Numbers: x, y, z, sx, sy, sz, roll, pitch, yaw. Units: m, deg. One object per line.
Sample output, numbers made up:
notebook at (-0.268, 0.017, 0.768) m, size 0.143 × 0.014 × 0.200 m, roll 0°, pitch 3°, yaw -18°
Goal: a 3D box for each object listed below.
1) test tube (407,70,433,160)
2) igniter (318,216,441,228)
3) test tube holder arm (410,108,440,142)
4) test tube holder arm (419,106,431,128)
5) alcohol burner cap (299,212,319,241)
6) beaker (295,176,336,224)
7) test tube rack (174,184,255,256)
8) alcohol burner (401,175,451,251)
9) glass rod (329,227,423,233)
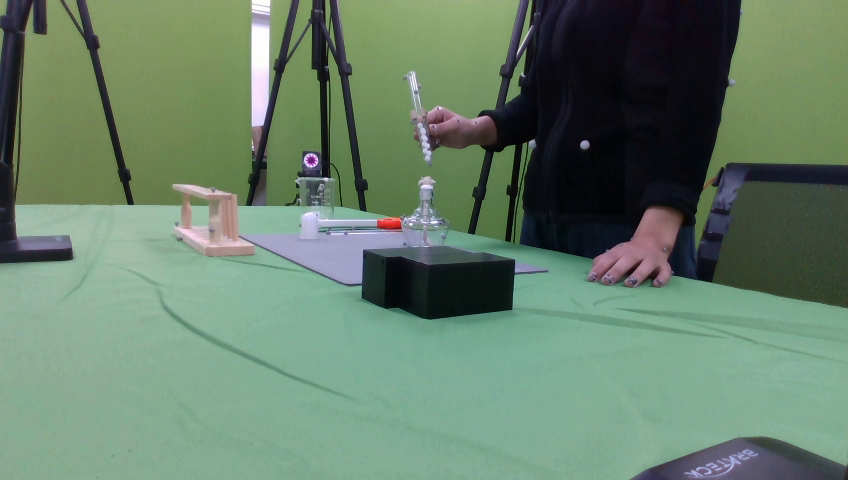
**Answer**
test tube at (-0.006, -0.197, 0.948) m, size 0.017 × 0.150 × 0.017 m, roll -11°, pitch -11°, yaw -2°
igniter at (-0.090, -0.035, 1.222) m, size 0.278 × 0.025 × 0.057 m, roll -2°, pitch -2°, yaw -32°
test tube holder arm at (0.004, -0.191, 1.016) m, size 0.013 × 0.015 × 0.179 m, roll -11°, pitch -6°, yaw 11°
test tube holder arm at (0.002, -0.195, 0.971) m, size 0.010 × 0.015 × 0.088 m, roll -11°, pitch -6°, yaw 4°
alcohol burner cap at (-0.195, -0.024, 1.025) m, size 0.034 × 0.048 × 0.034 m, roll 3°, pitch 7°, yaw 0°
beaker at (-0.224, -0.080, 1.247) m, size 0.084 × 0.100 × 0.073 m, roll -1°, pitch 8°, yaw -18°
test tube rack at (-0.327, -0.036, 0.928) m, size 0.067 × 0.085 × 0.241 m, roll -2°, pitch 9°, yaw -32°
alcohol burner at (0.003, -0.042, 0.947) m, size 0.078 × 0.119 × 0.078 m, roll 1°, pitch 9°, yaw 0°
glass rod at (-0.087, -0.019, 1.148) m, size 0.201 × 0.008 × 0.008 m, roll -3°, pitch 8°, yaw -32°
